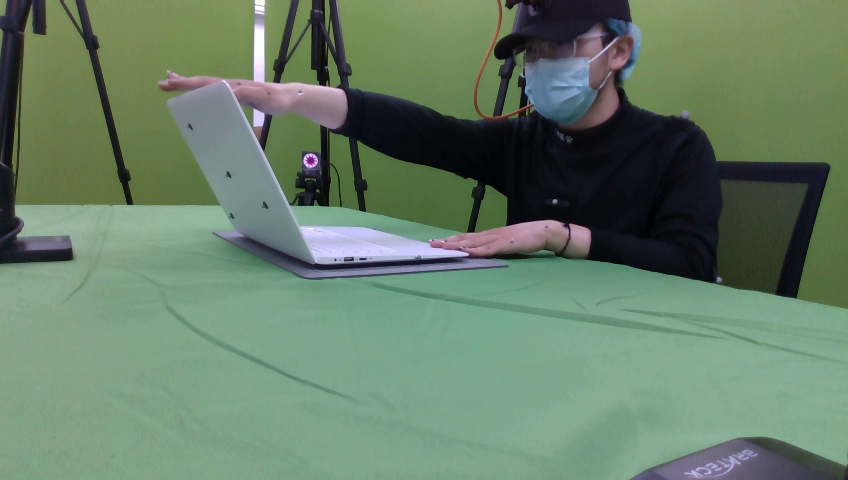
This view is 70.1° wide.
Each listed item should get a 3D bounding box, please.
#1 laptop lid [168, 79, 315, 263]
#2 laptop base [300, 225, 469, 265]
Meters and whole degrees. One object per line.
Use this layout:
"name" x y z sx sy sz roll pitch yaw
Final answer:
"laptop lid" -0.264 -0.093 0.831 0.013 0.242 0.355 -33 25 -25
"laptop base" -0.124 0.005 0.936 0.237 0.023 0.352 2 7 -33
